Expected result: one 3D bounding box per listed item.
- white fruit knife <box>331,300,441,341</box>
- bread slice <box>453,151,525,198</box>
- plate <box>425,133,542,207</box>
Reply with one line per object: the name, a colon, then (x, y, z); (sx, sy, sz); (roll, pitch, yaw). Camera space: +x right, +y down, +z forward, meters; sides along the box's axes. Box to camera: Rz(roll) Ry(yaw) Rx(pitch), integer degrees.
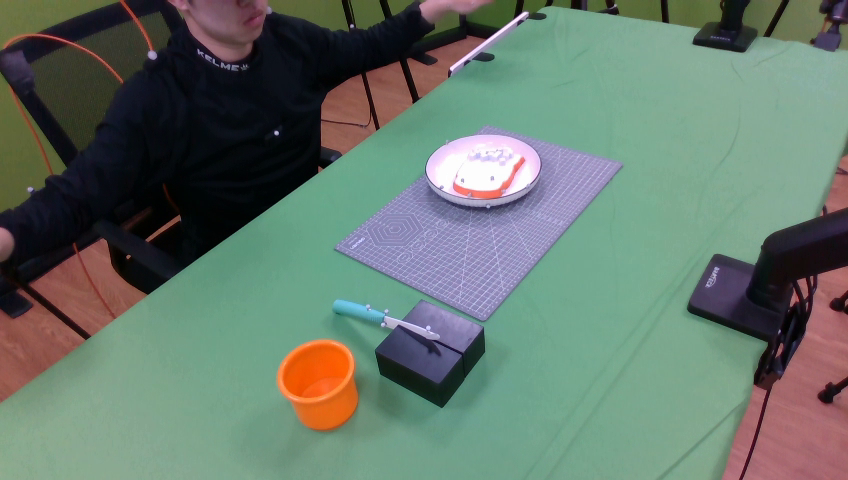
white fruit knife: (-0.056, 0.107, 0.807); (0.205, 0.027, 0.016); (9, 42, 40)
bread slice: (0.112, -0.118, 1.079); (0.104, 0.019, 0.131); (11, 42, 22)
plate: (0.106, -0.121, 1.079); (0.209, 0.038, 0.208); (-4, 41, 4)
